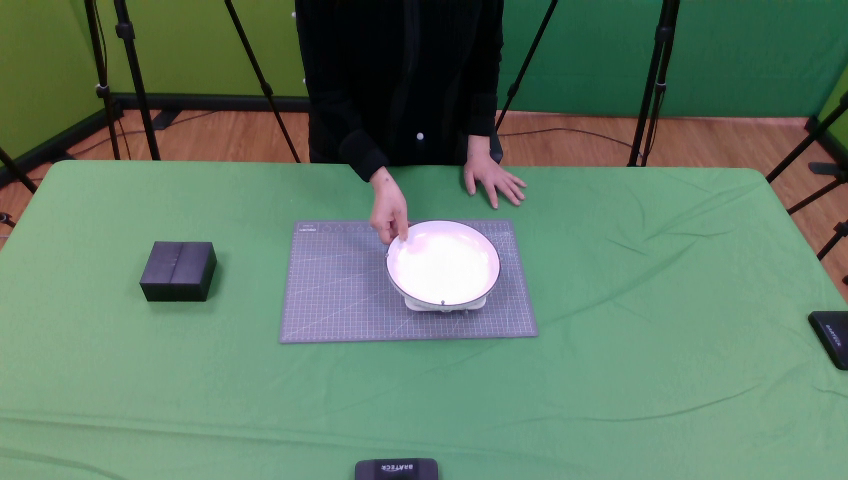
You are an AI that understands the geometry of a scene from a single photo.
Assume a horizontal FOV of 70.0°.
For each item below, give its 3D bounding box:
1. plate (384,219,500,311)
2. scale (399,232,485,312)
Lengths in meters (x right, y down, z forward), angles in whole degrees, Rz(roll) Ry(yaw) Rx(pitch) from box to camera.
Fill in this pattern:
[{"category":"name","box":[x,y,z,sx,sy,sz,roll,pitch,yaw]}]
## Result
[{"category":"plate","box":[0.032,0.047,1.097,0.209,0.038,0.208,2,47,-2]},{"category":"scale","box":[0.031,0.051,1.141,0.149,0.032,0.199,-1,46,-5]}]
